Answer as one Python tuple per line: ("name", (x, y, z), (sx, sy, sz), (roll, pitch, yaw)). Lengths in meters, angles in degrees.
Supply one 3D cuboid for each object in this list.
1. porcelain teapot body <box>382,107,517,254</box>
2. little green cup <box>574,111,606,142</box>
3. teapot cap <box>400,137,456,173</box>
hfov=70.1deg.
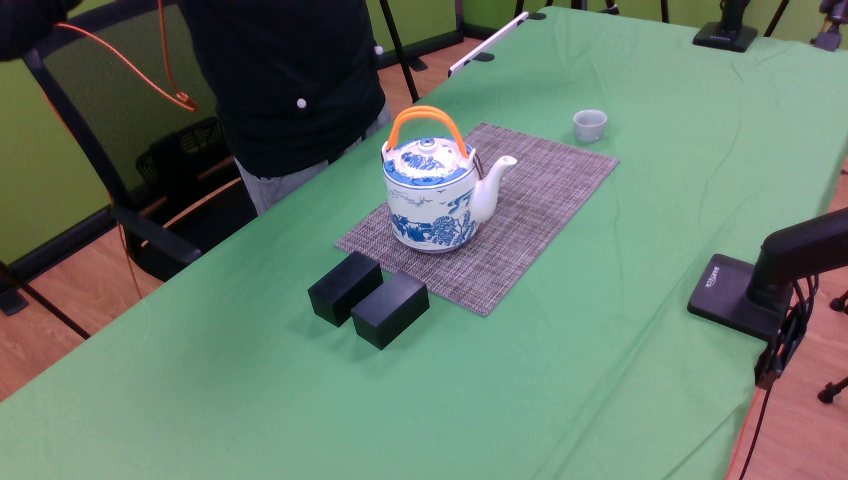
("porcelain teapot body", (0.039, -0.095, 0.912), (0.205, 0.226, 0.145), (5, 42, 14))
("little green cup", (0.318, -0.217, 1.164), (0.061, 0.039, 0.061), (-3, 41, 3))
("teapot cap", (0.006, -0.127, 0.893), (0.085, 0.044, 0.084), (-3, 44, 4))
